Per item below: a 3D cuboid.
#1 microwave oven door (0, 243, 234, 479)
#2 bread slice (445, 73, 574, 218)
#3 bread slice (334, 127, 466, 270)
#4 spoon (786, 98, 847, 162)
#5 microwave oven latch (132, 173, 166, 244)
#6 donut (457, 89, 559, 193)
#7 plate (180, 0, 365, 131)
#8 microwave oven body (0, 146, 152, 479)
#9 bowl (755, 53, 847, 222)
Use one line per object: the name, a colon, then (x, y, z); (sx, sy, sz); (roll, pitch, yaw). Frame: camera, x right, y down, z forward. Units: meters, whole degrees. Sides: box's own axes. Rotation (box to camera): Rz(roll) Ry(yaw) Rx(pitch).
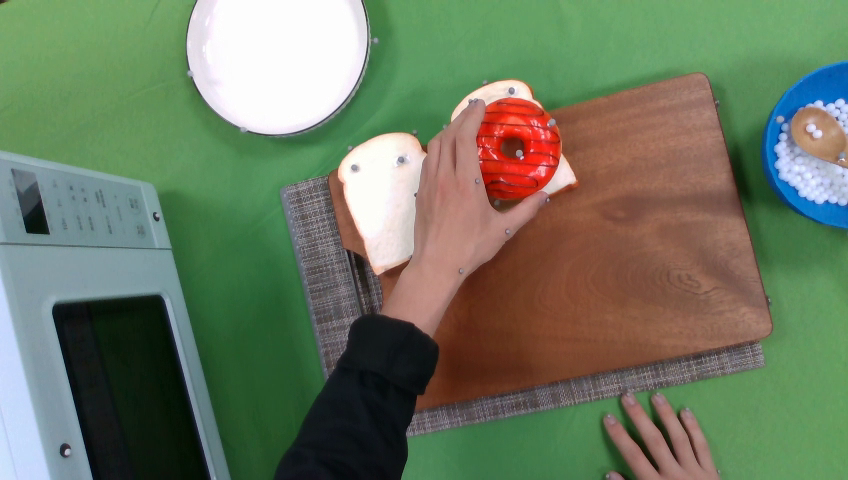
microwave oven door: (-0.269, 0.176, 0.560); (0.039, 0.244, 0.355); (-17, 87, 8)
bread slice: (0.078, -0.100, 0.614); (0.105, 0.019, 0.131); (-24, 86, 6)
bread slice: (-0.034, -0.048, 0.628); (0.107, 0.018, 0.134); (-28, 85, 6)
spoon: (0.401, -0.055, 0.536); (0.041, 0.022, 0.192); (-40, 67, 10)
microwave oven latch: (-0.312, -0.032, 0.669); (0.030, 0.029, 0.079); (-15, 88, 7)
donut: (0.081, -0.094, 0.585); (0.099, 0.048, 0.099); (0, 91, 7)
plate: (-0.164, -0.222, 0.668); (0.207, 0.039, 0.207); (0, 90, 8)
microwave oven body: (-0.419, 0.176, 0.585); (0.326, 0.260, 0.441); (-16, 88, 7)
bowl: (0.382, -0.090, 0.571); (0.151, 0.077, 0.151); (0, 90, 8)
